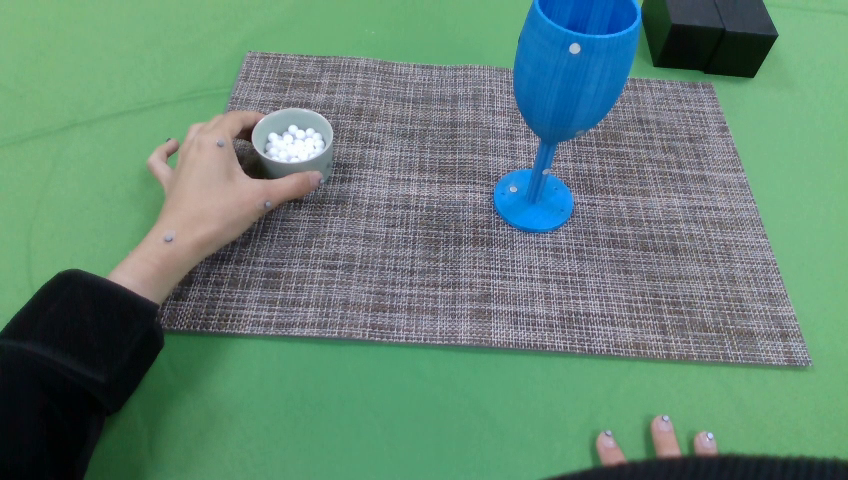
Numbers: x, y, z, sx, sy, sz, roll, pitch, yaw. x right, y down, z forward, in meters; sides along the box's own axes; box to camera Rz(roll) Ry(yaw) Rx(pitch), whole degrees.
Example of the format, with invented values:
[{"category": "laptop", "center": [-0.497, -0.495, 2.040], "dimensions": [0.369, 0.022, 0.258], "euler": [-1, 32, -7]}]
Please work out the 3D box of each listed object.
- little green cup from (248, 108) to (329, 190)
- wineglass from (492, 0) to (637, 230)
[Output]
[{"category": "little green cup", "center": [-0.104, -0.070, 0.477], "dimensions": [0.061, 0.039, 0.061], "euler": [2, 50, -2]}, {"category": "wineglass", "center": [0.089, -0.085, 0.418], "dimensions": [0.074, 0.173, 0.073], "euler": [1, 53, -1]}]
